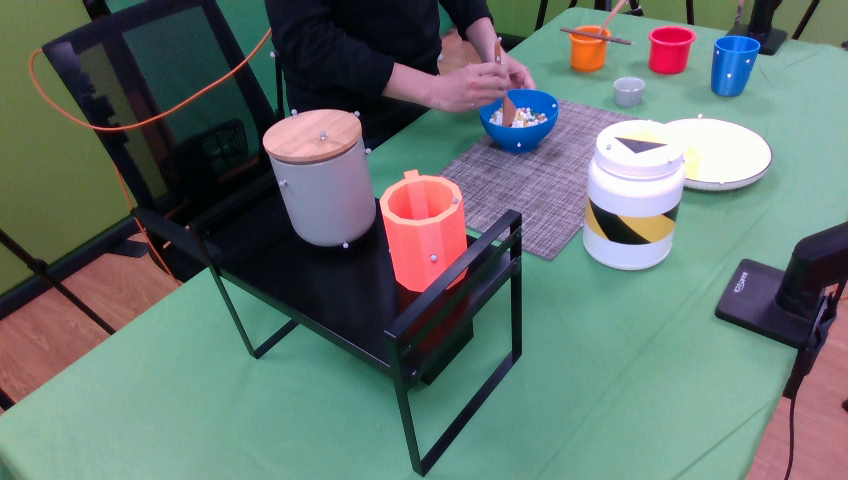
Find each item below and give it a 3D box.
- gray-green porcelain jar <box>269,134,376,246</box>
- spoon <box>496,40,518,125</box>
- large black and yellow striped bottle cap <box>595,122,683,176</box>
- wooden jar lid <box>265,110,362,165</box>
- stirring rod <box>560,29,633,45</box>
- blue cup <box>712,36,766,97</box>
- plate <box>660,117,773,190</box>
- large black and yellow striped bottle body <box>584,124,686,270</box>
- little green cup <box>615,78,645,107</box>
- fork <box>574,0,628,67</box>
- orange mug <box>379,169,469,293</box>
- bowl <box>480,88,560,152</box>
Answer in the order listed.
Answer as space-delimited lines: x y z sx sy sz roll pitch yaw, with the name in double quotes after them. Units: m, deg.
-0.115 -0.064 0.715 0.106 0.127 0.105 -4 40 4 "gray-green porcelain jar"
0.147 -0.284 1.106 0.021 0.195 0.041 31 69 36 "spoon"
0.293 -0.126 0.826 0.115 0.019 0.114 -3 40 3 "large black and yellow striped bottle cap"
-0.122 -0.112 0.673 0.108 0.021 0.108 -4 37 4 "wooden jar lid"
0.381 -0.452 1.345 0.174 0.006 0.014 25 49 33 "stirring rod"
0.627 -0.350 1.227 0.092 0.100 0.092 -4 39 4 "blue cup"
0.495 -0.148 1.063 0.209 0.038 0.208 -5 40 4 "plate"
0.304 -0.063 0.880 0.131 0.185 0.130 -5 41 5 "large black and yellow striped bottle body"
0.426 -0.306 1.257 0.061 0.039 0.061 -5 40 4 "little green cup"
0.413 -0.481 1.377 0.207 0.019 0.028 -56 43 12 "fork"
-0.002 -0.019 0.665 0.083 0.101 0.125 -12 44 -4 "orange mug"
0.185 -0.222 1.160 0.151 0.077 0.150 -5 40 4 "bowl"
